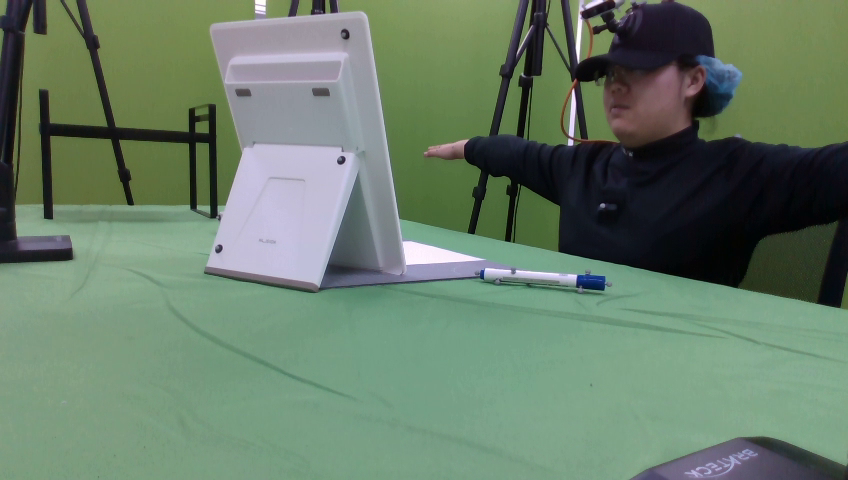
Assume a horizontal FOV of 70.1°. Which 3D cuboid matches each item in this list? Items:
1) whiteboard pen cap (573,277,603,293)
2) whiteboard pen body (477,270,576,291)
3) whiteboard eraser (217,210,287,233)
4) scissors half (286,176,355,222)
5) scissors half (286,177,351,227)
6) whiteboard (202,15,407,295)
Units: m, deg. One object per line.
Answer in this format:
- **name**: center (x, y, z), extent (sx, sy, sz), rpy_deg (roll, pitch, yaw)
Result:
- **whiteboard pen cap**: center (0.186, 0.051, 0.687), extent (0.033, 0.018, 0.018), rpy_deg (4, 7, 18)
- **whiteboard pen body**: center (0.131, 0.048, 0.706), extent (0.140, 0.017, 0.017), rpy_deg (4, 7, 18)
- **whiteboard eraser**: center (-0.310, -0.034, 1.094), extent (0.113, 0.042, 0.055), rpy_deg (-2, 11, -38)
- **scissors half**: center (-0.229, -0.091, 1.337), extent (0.175, 0.013, 0.040), rpy_deg (33, 16, -13)
- **scissors half**: center (-0.232, -0.085, 1.318), extent (0.175, 0.013, 0.040), rpy_deg (38, 21, 4)
- **whiteboard**: center (-0.167, -0.073, 0.668), extent (0.216, 0.305, 0.144), rpy_deg (7, 30, 28)
